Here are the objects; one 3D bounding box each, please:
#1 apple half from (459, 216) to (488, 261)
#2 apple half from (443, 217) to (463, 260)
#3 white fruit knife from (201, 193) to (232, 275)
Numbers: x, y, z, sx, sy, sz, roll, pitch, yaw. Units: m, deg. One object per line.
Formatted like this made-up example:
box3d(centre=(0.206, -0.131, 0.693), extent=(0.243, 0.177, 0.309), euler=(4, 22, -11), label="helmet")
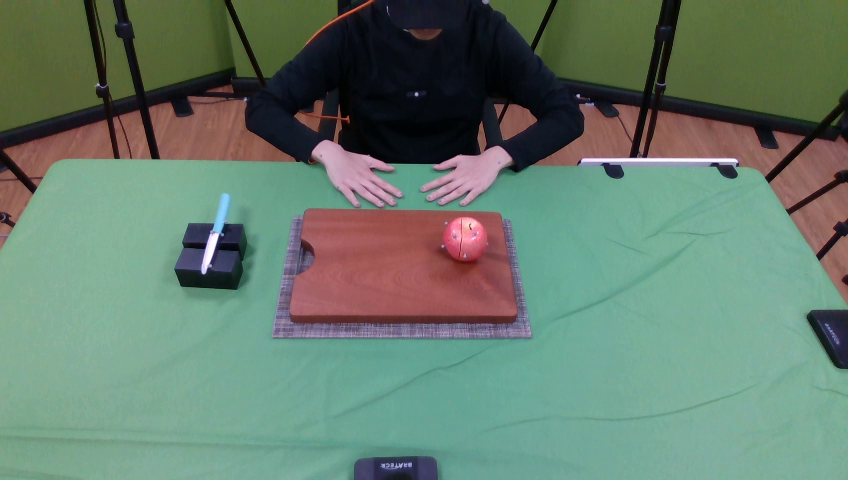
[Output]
box3d(centre=(0.091, 0.000, 1.126), extent=(0.053, 0.075, 0.080), euler=(5, 42, -5), label="apple half")
box3d(centre=(0.052, -0.001, 1.123), extent=(0.033, 0.081, 0.081), euler=(4, 46, -3), label="apple half")
box3d(centre=(-0.383, -0.015, 1.119), extent=(0.027, 0.016, 0.206), euler=(-20, 45, 18), label="white fruit knife")
